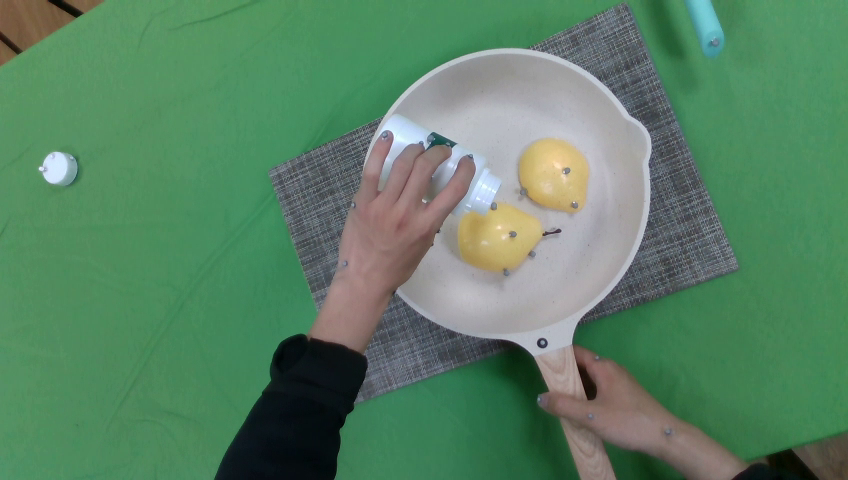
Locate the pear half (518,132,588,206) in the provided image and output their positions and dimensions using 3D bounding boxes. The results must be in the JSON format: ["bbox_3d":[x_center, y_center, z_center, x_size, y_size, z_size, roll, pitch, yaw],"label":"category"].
[{"bbox_3d":[0.137,-0.075,0.638,0.070,0.031,0.087,-39,76,16],"label":"pear half"}]

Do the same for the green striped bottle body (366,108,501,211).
[{"bbox_3d":[0.011,-0.071,0.567,0.119,0.063,0.063,27,97,4],"label":"green striped bottle body"}]

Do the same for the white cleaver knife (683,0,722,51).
[{"bbox_3d":[0.236,-0.319,0.600,0.021,0.066,0.285,-20,83,19],"label":"white cleaver knife"}]

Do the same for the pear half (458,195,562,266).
[{"bbox_3d":[0.090,-0.012,0.639,0.109,0.056,0.076,-9,93,12],"label":"pear half"}]

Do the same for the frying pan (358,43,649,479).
[{"bbox_3d":[0.107,0.046,0.611,0.306,0.103,0.485,-20,77,15],"label":"frying pan"}]

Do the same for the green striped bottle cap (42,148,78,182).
[{"bbox_3d":[-0.487,-0.101,0.811,0.044,0.020,0.044,0,90,15],"label":"green striped bottle cap"}]
